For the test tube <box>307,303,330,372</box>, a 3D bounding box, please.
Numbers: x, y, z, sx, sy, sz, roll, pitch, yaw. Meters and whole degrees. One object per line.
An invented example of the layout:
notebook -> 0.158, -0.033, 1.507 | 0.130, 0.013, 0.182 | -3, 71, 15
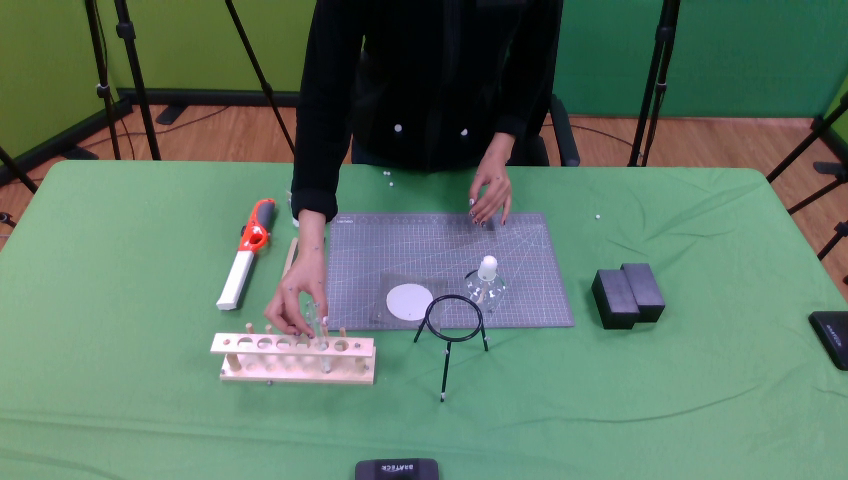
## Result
test tube -> -0.160, 0.152, 0.925 | 0.017, 0.151, 0.017 | -1, 41, 1

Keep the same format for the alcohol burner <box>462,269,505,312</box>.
alcohol burner -> 0.108, 0.072, 1.072 | 0.078, 0.119, 0.077 | 4, 45, -3

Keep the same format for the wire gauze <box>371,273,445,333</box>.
wire gauze -> -0.028, 0.109, 1.099 | 0.125, 0.011, 0.121 | 7, 45, 4

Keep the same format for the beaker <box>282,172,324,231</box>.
beaker -> -0.234, -0.072, 1.198 | 0.084, 0.101, 0.074 | 24, 49, 17

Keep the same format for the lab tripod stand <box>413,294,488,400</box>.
lab tripod stand -> 0.044, 0.160, 0.972 | 0.148, 0.132, 0.147 | 3, 44, -2

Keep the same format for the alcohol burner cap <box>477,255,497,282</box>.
alcohol burner cap -> 0.110, 0.047, 1.045 | 0.034, 0.048, 0.033 | 2, 52, -2

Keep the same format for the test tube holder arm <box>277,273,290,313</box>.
test tube holder arm -> -0.254, 0.094, 1.094 | 0.010, 0.015, 0.087 | 31, 37, -29

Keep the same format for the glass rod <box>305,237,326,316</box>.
glass rod -> -0.202, 0.064, 1.131 | 0.008, 0.008, 0.198 | 4, 44, 0

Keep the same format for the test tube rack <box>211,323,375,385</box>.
test tube rack -> -0.202, 0.177, 0.969 | 0.242, 0.085, 0.066 | 3, 46, -2

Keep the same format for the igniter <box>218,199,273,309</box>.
igniter -> -0.335, 0.018, 1.152 | 0.057, 0.025, 0.275 | -3, 45, 7

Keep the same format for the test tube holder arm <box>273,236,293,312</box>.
test tube holder arm -> -0.260, 0.059, 1.122 | 0.013, 0.015, 0.177 | 30, 38, -30
